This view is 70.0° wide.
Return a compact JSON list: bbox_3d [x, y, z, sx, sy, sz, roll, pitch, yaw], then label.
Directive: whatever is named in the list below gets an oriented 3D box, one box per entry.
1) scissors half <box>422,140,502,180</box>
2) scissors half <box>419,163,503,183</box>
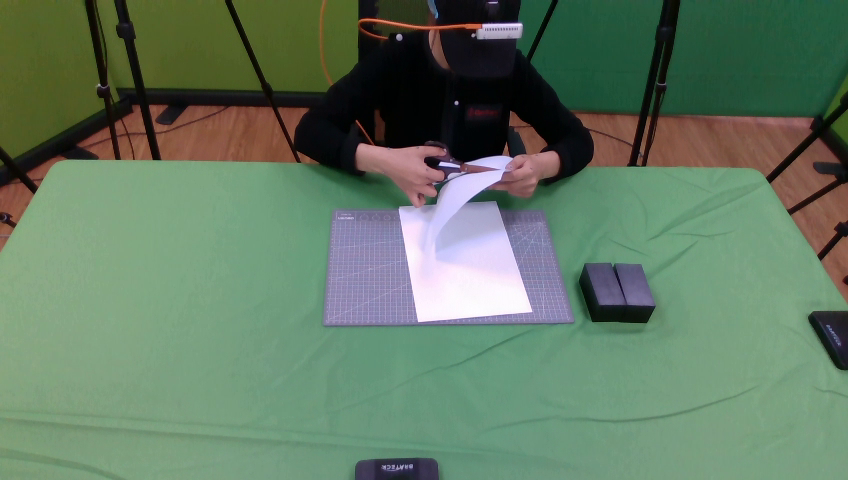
[{"bbox_3d":[0.076,-0.159,1.216,0.175,0.040,0.013,26,32,6],"label":"scissors half"},{"bbox_3d":[0.074,-0.138,1.226,0.175,0.040,0.013,-2,21,20],"label":"scissors half"}]
